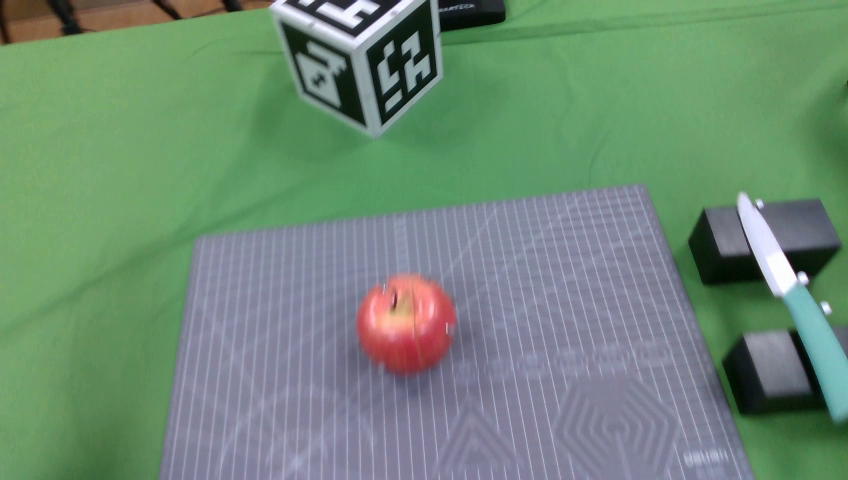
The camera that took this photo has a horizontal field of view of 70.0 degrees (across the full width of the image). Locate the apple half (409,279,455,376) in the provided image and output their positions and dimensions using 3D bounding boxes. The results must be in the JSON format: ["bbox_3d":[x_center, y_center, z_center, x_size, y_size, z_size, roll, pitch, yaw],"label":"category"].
[{"bbox_3d":[0.009,0.070,0.489,0.033,0.082,0.080,-10,55,5],"label":"apple half"}]

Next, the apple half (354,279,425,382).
[{"bbox_3d":[-0.029,0.076,0.491,0.053,0.075,0.080,-10,60,4],"label":"apple half"}]

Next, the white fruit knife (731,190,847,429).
[{"bbox_3d":[0.280,0.040,0.464,0.027,0.016,0.205,-12,55,7],"label":"white fruit knife"}]
